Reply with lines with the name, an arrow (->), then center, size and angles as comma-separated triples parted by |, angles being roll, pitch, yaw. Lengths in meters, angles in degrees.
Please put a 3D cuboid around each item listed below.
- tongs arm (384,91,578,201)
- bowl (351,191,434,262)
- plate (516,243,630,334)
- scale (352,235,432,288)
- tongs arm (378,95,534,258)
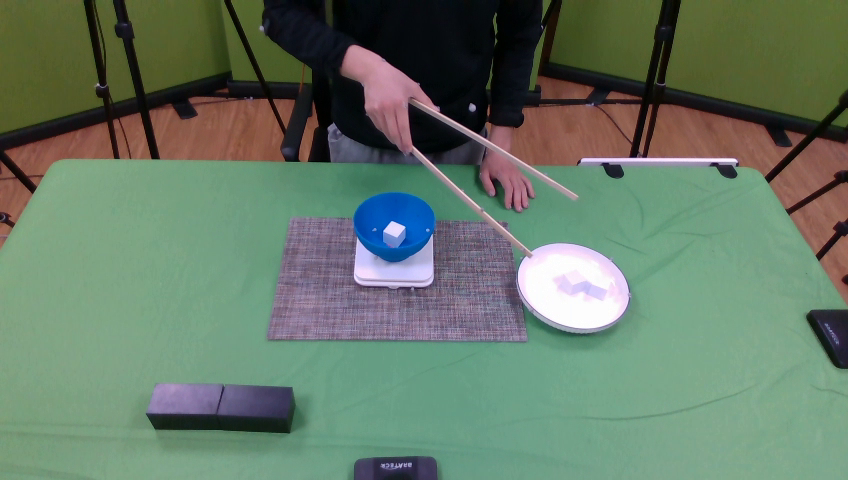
tongs arm -> 0.100, -0.167, 1.072 | 0.387, 0.028, 0.028 | 31, 82, 5
bowl -> -0.057, -0.013, 1.119 | 0.151, 0.077, 0.150 | 2, 46, -1
plate -> 0.272, 0.092, 1.120 | 0.208, 0.039, 0.206 | 2, 46, -2
scale -> -0.060, 0.010, 1.171 | 0.149, 0.032, 0.199 | 2, 46, -3
tongs arm -> 0.055, -0.112, 1.057 | 0.384, 0.026, 0.050 | 41, 80, 8
